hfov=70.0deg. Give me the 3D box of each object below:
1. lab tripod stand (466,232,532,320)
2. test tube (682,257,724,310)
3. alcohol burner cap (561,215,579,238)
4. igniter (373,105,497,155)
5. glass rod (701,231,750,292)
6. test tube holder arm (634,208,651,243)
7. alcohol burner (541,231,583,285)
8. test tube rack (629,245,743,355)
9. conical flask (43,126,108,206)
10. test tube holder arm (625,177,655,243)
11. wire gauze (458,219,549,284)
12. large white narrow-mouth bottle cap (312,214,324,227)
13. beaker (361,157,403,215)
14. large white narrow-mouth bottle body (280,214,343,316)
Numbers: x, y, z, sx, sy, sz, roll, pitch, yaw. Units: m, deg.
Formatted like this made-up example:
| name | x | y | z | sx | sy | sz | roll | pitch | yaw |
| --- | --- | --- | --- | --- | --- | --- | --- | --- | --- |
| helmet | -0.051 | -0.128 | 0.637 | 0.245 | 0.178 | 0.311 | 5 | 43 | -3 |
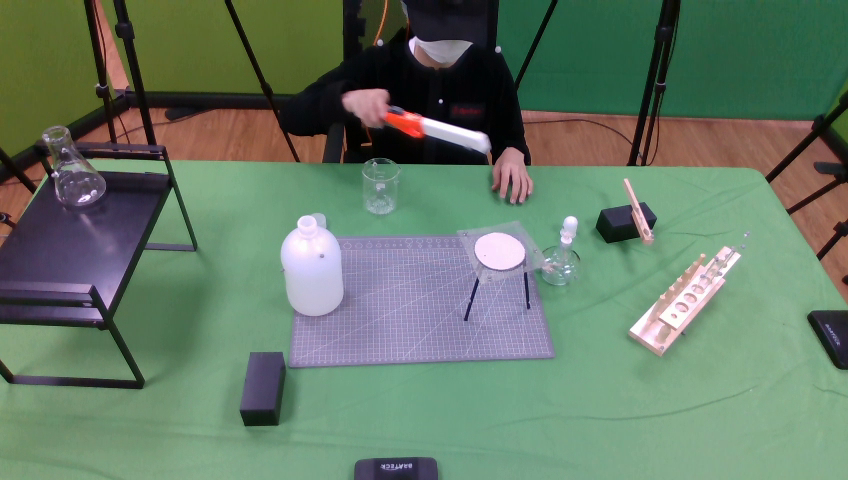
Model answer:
| name | x | y | z | sx | sy | sz | roll | pitch | yaw |
| --- | --- | --- | --- | --- | --- | --- | --- | --- | --- |
| lab tripod stand | 0.125 | 0.059 | 1.065 | 0.148 | 0.132 | 0.147 | 1 | 45 | 0 |
| test tube | 0.475 | 0.080 | 1.037 | 0.017 | 0.151 | 0.017 | 2 | 51 | -2 |
| alcohol burner cap | 0.299 | -0.030 | 1.231 | 0.034 | 0.048 | 0.033 | 1 | 47 | -1 |
| igniter | 0.009 | -0.195 | 1.056 | 0.275 | 0.057 | 0.025 | 23 | 61 | 36 |
| glass rod | 0.519 | 0.045 | 1.050 | 0.008 | 0.201 | 0.008 | 0 | 55 | 0 |
| test tube holder arm | 0.428 | -0.030 | 1.189 | 0.010 | 0.015 | 0.087 | 1 | 47 | -2 |
| alcohol burner | 0.258 | 0.028 | 1.123 | 0.078 | 0.120 | 0.077 | 1 | 48 | -1 |
| test tube rack | 0.474 | 0.095 | 1.091 | 0.242 | 0.085 | 0.066 | -34 | 56 | -31 |
| conical flask | -0.555 | -0.119 | 0.953 | 0.075 | 0.122 | 0.075 | 2 | 46 | -2 |
| test tube holder arm | 0.433 | -0.063 | 1.220 | 0.013 | 0.015 | 0.177 | 1 | 47 | -3 |
| wire gauze | 0.131 | 0.014 | 1.016 | 0.121 | 0.011 | 0.124 | -12 | 47 | -14 |
| large white narrow-mouth bottle cap | -0.219 | -0.033 | 1.214 | 0.038 | 0.024 | 0.037 | 2 | 46 | -2 |
| beaker | -0.086 | -0.108 | 1.241 | 0.084 | 0.101 | 0.073 | -8 | 48 | -13 |
| large white narrow-mouth bottle body | -0.190 | 0.035 | 1.025 | 0.102 | 0.195 | 0.101 | 2 | 46 | -2 |
